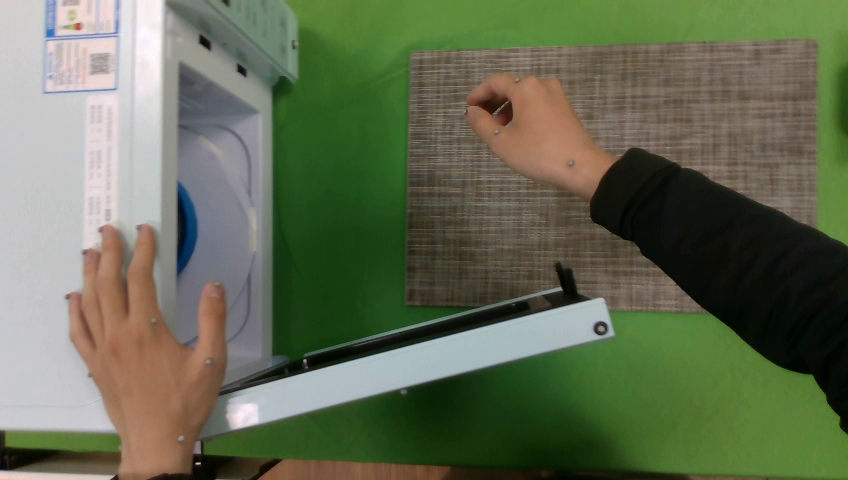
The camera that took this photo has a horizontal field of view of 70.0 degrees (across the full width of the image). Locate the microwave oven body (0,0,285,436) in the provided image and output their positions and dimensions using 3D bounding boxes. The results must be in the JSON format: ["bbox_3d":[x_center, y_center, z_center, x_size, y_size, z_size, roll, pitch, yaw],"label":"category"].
[{"bbox_3d":[-0.327,-0.052,0.625,0.326,0.260,0.441,-2,89,7],"label":"microwave oven body"}]

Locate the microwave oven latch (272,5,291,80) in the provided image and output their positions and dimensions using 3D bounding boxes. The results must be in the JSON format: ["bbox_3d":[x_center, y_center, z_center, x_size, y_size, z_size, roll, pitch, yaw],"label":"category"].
[{"bbox_3d":[-0.171,-0.230,0.706,0.030,0.029,0.079,-1,89,7],"label":"microwave oven latch"}]

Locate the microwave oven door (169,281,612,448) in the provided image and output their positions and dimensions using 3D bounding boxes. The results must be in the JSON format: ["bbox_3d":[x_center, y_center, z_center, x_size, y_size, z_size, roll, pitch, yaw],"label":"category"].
[{"bbox_3d":[-0.017,0.107,0.575,0.355,0.244,0.039,-17,85,7],"label":"microwave oven door"}]
